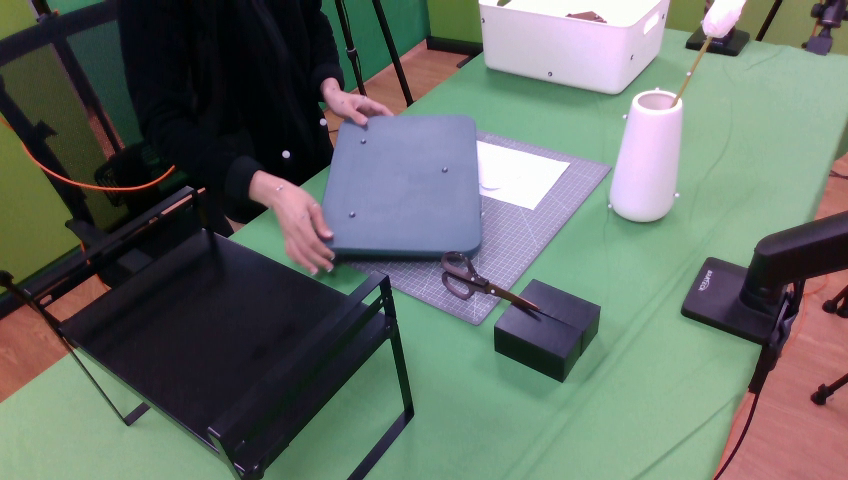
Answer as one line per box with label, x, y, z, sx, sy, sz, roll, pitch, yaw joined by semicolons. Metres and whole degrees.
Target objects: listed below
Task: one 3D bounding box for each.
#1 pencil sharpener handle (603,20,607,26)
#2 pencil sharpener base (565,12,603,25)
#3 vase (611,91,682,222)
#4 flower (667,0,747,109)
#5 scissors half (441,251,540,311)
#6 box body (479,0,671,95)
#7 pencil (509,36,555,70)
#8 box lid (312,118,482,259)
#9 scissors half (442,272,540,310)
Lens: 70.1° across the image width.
pencil sharpener handle;0.412;-0.477;1.381;0.031;0.068;0.035;-14;36;-8
pencil sharpener base;0.363;-0.457;1.382;0.077;0.107;0.061;-14;41;-9
vase;0.348;-0.125;0.935;0.098;0.201;0.097;-3;40;3
flower;0.354;-0.187;0.879;0.038;0.362;0.044;31;48;14
scissors half;0.087;0.056;0.824;0.013;0.040;0.173;-30;44;-35
box body;0.339;-0.480;1.381;0.361;0.161;0.255;22;48;30
pencil;0.263;-0.454;1.470;0.012;0.012;0.194;27;53;33
box lid;-0.039;-0.103;1.038;0.263;0.015;0.369;1;44;1
scissors half;0.089;0.074;0.832;0.013;0.040;0.173;-24;23;-38
